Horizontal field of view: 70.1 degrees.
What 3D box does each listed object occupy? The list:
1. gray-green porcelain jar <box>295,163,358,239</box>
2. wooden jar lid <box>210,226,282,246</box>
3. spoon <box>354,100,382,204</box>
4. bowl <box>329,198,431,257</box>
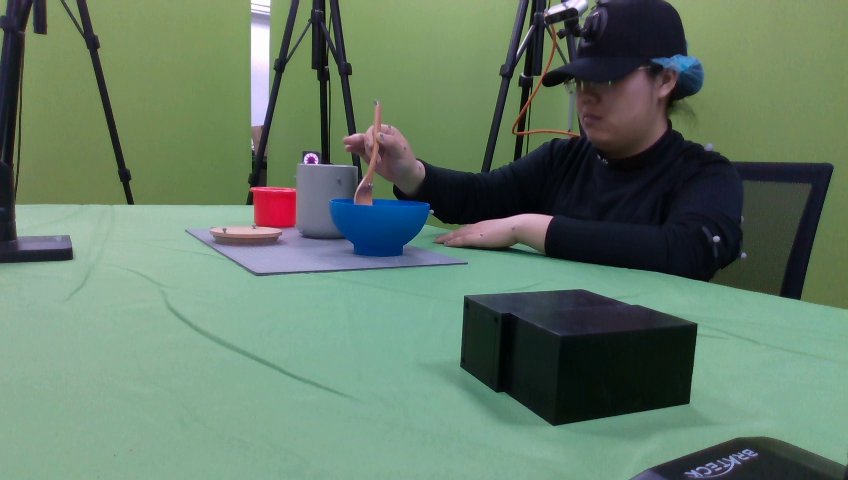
[{"bbox_3d":[-0.170,-0.069,1.054,0.106,0.126,0.106,3,7,0],"label":"gray-green porcelain jar"},{"bbox_3d":[-0.279,-0.007,0.951,0.108,0.020,0.108,2,8,0],"label":"wooden jar lid"},{"bbox_3d":[-0.080,-0.125,0.927,0.021,0.193,0.042,0,-14,39],"label":"spoon"},{"bbox_3d":[-0.066,-0.019,0.894,0.151,0.077,0.151,3,7,0],"label":"bowl"}]
